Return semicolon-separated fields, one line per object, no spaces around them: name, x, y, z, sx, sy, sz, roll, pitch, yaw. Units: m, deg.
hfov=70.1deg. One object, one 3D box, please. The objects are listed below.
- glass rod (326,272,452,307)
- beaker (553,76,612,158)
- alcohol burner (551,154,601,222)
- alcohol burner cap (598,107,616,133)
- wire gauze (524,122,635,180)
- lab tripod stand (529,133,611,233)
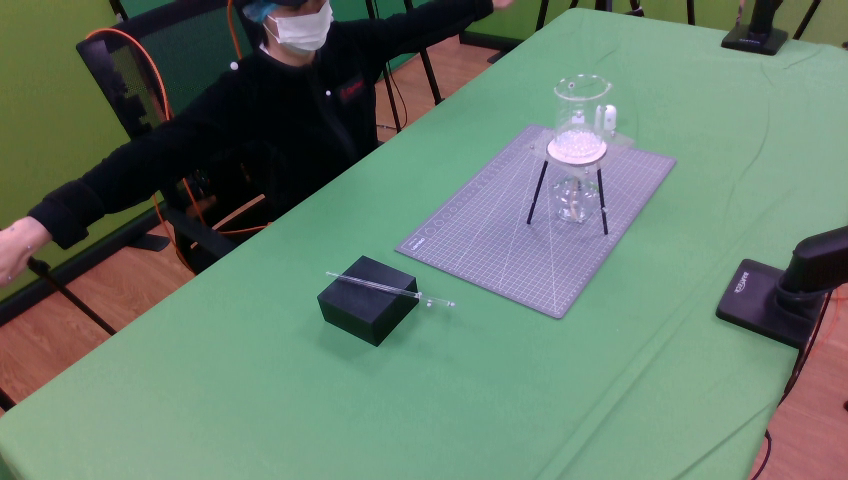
glass rod;-0.053;0.068;0.839;0.198;0.008;0.008;12;44;23
beaker;0.230;-0.178;0.882;0.084;0.101;0.073;-9;41;1
alcohol burner;0.244;-0.088;0.966;0.078;0.119;0.077;-3;40;3
alcohol burner cap;0.361;-0.239;1.189;0.034;0.048;0.033;-4;40;4
wire gauze;0.233;-0.142;0.913;0.122;0.011;0.124;-31;42;-26
lab tripod stand;0.236;-0.089;0.953;0.148;0.132;0.147;-5;41;5
